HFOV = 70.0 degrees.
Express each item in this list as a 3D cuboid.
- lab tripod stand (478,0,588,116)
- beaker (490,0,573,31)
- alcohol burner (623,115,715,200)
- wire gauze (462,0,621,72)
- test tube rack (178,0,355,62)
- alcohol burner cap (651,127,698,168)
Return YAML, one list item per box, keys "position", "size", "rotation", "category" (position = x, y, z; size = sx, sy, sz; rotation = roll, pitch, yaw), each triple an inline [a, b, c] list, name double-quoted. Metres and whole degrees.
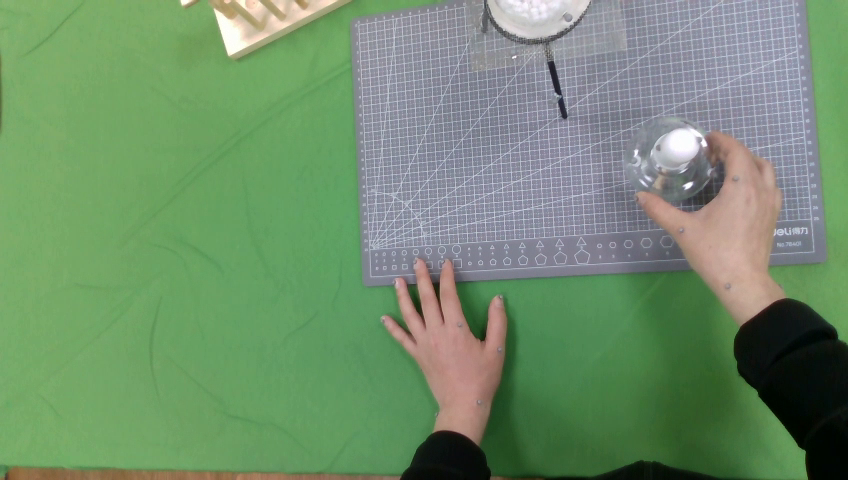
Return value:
- position: [0.109, -0.199, 0.557]
  size: [0.148, 0.132, 0.148]
  rotation: [0, 88, 14]
  category: "lab tripod stand"
- position: [0.074, -0.206, 0.449]
  size: [0.083, 0.100, 0.074]
  rotation: [10, 90, 16]
  category: "beaker"
- position: [0.218, -0.076, 0.533]
  size: [0.077, 0.119, 0.078]
  rotation: [-1, 87, 14]
  category: "alcohol burner"
- position: [0.092, -0.203, 0.494]
  size: [0.125, 0.011, 0.121]
  rotation: [-5, 90, 13]
  category: "wire gauze"
- position: [-0.139, -0.287, 0.657]
  size: [0.242, 0.085, 0.066]
  rotation: [-22, 82, 13]
  category: "test tube rack"
- position: [0.208, -0.078, 0.498]
  size: [0.034, 0.048, 0.034]
  rotation: [0, 90, 11]
  category: "alcohol burner cap"
